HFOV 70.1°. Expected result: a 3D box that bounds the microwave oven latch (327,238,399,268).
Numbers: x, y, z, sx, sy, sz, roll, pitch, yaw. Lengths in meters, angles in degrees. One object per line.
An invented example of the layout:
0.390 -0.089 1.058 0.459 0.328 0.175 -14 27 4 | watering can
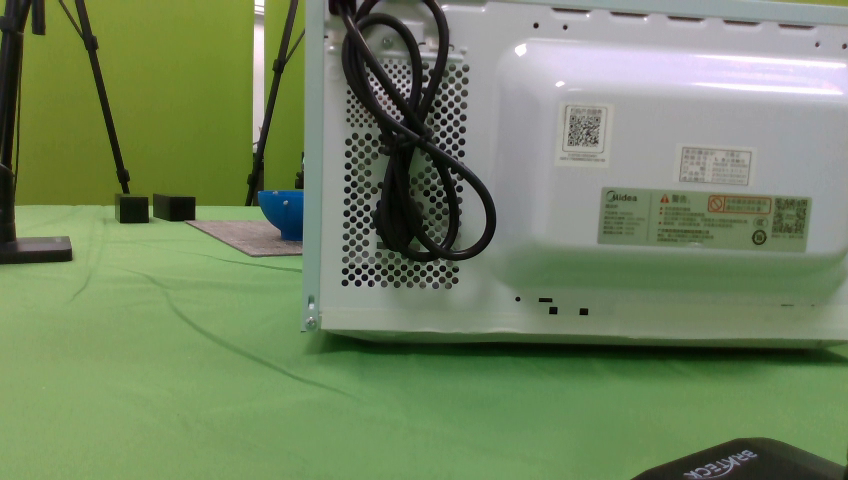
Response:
-0.069 0.015 0.694 0.079 0.029 0.030 3 7 -3 | microwave oven latch

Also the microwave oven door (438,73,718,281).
0.184 -0.090 0.801 0.354 0.243 0.039 7 7 33 | microwave oven door

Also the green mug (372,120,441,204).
-0.030 -0.105 0.826 0.093 0.105 0.124 2 5 -29 | green mug

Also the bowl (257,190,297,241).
-0.206 -0.041 1.027 0.151 0.077 0.151 2 8 0 | bowl

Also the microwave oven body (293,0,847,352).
0.122 -0.055 0.550 0.442 0.260 0.325 3 7 -5 | microwave oven body
